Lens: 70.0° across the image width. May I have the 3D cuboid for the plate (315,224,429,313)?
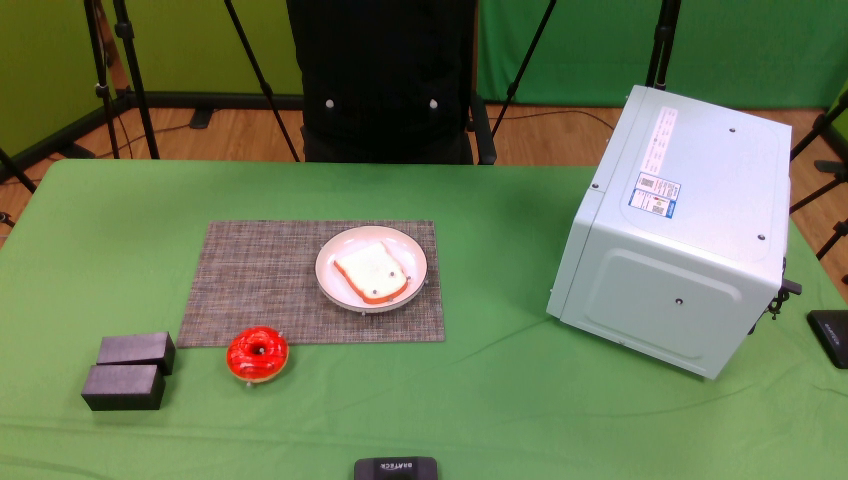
[{"bbox_3d":[-0.096,0.055,1.121,0.208,0.039,0.206,2,46,-2],"label":"plate"}]

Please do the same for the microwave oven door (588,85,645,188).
[{"bbox_3d":[0.342,-0.107,1.149,0.039,0.245,0.354,20,48,15],"label":"microwave oven door"}]

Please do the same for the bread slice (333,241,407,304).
[{"bbox_3d":[-0.092,0.060,1.117,0.105,0.019,0.130,-24,52,-24],"label":"bread slice"}]

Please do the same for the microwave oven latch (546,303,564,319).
[{"bbox_3d":[0.242,0.102,1.081,0.030,0.029,0.079,21,48,17],"label":"microwave oven latch"}]

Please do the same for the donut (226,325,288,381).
[{"bbox_3d":[-0.270,0.182,0.984,0.099,0.048,0.098,5,49,-5],"label":"donut"}]

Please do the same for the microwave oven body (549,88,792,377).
[{"bbox_3d":[0.456,-0.028,1.088,0.325,0.261,0.440,20,47,16],"label":"microwave oven body"}]
